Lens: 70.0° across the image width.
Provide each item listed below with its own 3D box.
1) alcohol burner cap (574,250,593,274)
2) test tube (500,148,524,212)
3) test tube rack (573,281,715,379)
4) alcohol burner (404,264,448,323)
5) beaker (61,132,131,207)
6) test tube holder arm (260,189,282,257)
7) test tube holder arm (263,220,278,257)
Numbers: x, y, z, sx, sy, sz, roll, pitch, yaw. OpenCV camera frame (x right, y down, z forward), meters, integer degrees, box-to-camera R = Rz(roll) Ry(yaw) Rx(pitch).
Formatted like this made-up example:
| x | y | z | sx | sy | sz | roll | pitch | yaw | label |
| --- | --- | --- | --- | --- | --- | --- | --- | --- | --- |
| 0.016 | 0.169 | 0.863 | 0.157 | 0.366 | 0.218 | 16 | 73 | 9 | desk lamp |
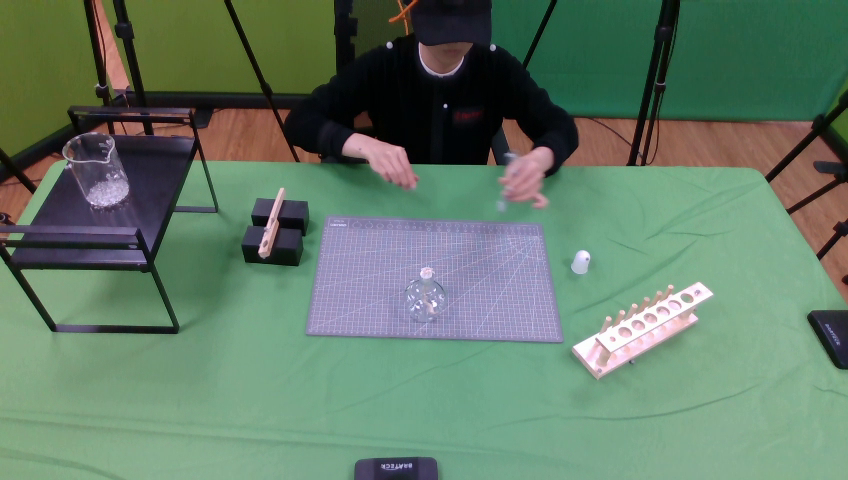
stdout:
| x | y | z | sx | sy | sz | roll | pitch | yaw | label |
| --- | --- | --- | --- | --- | --- | --- | --- | --- | --- |
| 0.308 | 0.039 | 1.162 | 0.034 | 0.048 | 0.033 | 2 | 46 | -1 | alcohol burner cap |
| 0.154 | -0.102 | 1.064 | 0.017 | 0.151 | 0.017 | 3 | 52 | -3 | test tube |
| 0.378 | 0.140 | 1.038 | 0.242 | 0.085 | 0.066 | -22 | 51 | -23 | test tube rack |
| 0.003 | 0.087 | 1.042 | 0.078 | 0.120 | 0.077 | 1 | 45 | 0 | alcohol burner |
| -0.512 | -0.107 | 0.959 | 0.083 | 0.101 | 0.074 | 29 | 51 | 22 | beaker |
| -0.288 | -0.036 | 1.147 | 0.013 | 0.015 | 0.177 | -1 | 45 | -1 | test tube holder arm |
| -0.282 | -0.004 | 1.115 | 0.010 | 0.015 | 0.087 | 0 | 45 | 0 | test tube holder arm |
